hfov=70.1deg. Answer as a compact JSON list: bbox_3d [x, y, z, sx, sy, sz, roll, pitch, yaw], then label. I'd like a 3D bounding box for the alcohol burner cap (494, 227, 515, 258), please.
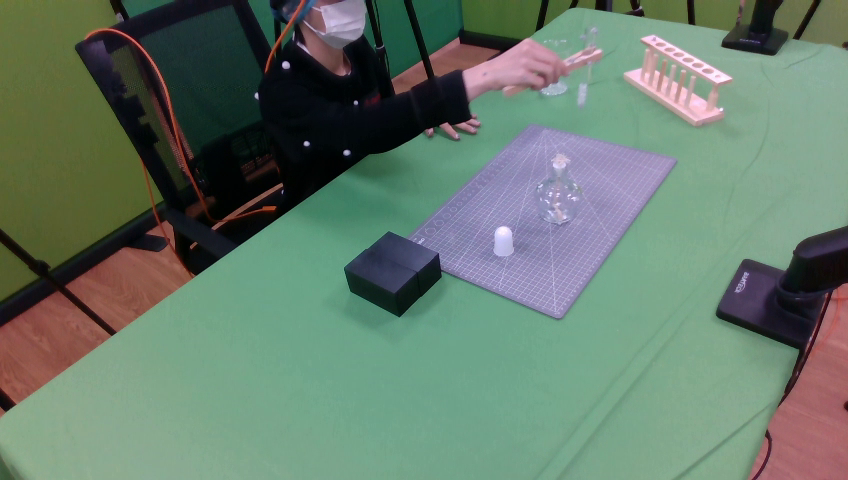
[{"bbox_3d":[0.124,0.001,0.936,0.034,0.048,0.033,-4,40,4],"label":"alcohol burner cap"}]

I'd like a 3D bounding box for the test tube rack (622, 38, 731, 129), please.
[{"bbox_3d":[0.506,-0.325,1.234,0.067,0.085,0.240,-18,41,-11],"label":"test tube rack"}]

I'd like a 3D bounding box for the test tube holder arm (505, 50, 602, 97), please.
[{"bbox_3d":[0.207,-0.265,0.959,0.179,0.015,0.013,-26,48,-14],"label":"test tube holder arm"}]

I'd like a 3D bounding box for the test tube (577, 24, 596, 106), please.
[{"bbox_3d":[0.266,-0.284,0.993,0.017,0.151,0.017,-3,49,4],"label":"test tube"}]

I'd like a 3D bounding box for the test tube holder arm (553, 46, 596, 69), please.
[{"bbox_3d":[0.243,-0.289,0.974,0.088,0.015,0.010,-32,50,-19],"label":"test tube holder arm"}]

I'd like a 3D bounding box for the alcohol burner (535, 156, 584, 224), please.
[{"bbox_3d":[0.217,-0.085,0.967,0.078,0.119,0.077,-3,41,3],"label":"alcohol burner"}]

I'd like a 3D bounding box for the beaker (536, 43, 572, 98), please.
[{"bbox_3d":[0.280,-0.368,1.311,0.074,0.101,0.084,4,41,14],"label":"beaker"}]
